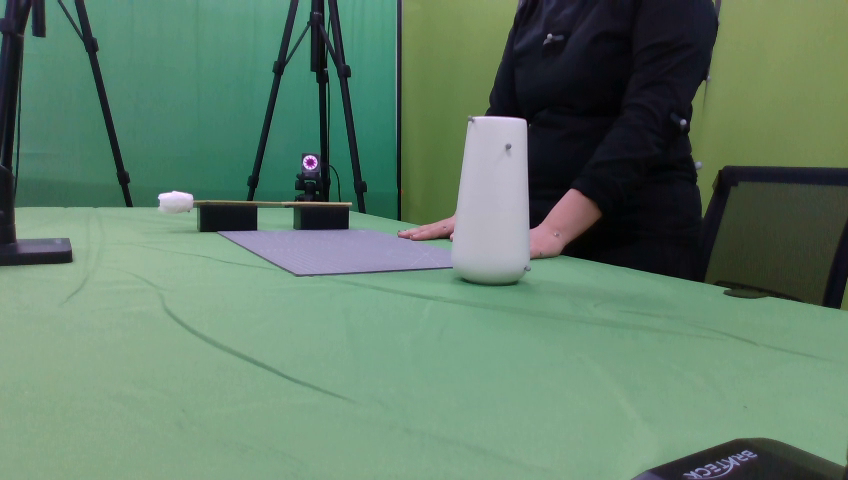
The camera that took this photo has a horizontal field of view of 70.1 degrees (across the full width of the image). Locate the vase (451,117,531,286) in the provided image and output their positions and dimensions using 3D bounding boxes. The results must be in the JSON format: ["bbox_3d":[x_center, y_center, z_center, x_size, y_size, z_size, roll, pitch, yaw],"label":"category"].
[{"bbox_3d":[0.083,-0.047,0.737,0.098,0.200,0.098,1,6,0],"label":"vase"}]

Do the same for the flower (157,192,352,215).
[{"bbox_3d":[-0.313,-0.076,1.160,0.363,0.038,0.044,-4,-21,-24],"label":"flower"}]
